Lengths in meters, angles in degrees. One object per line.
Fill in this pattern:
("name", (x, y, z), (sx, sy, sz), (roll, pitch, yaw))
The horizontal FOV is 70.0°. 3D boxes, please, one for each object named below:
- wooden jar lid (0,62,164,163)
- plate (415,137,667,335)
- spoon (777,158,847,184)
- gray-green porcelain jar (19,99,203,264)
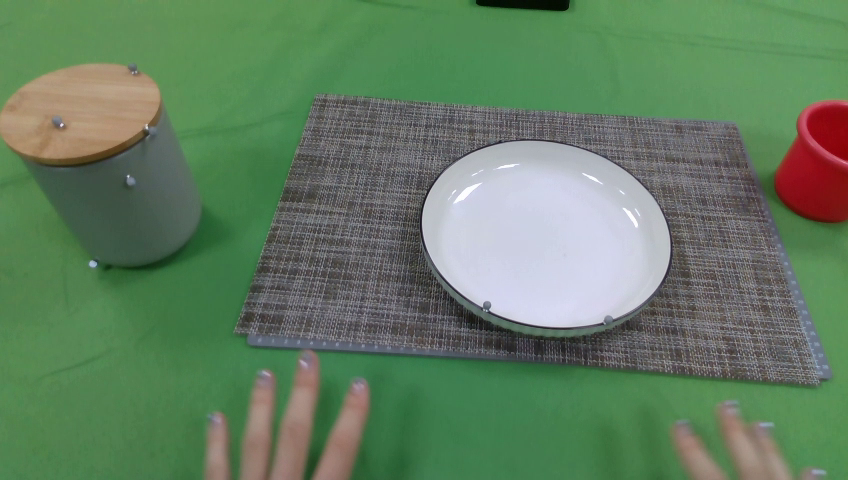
("wooden jar lid", (-0.244, -0.090, 0.440), (0.108, 0.021, 0.107), (3, 50, -4))
("plate", (0.096, -0.005, 0.516), (0.208, 0.039, 0.205), (1, 52, -1))
("spoon", (0.402, -0.069, 0.511), (0.041, 0.022, 0.193), (-42, 19, -29))
("gray-green porcelain jar", (-0.245, -0.050, 0.490), (0.106, 0.127, 0.105), (1, 51, -1))
